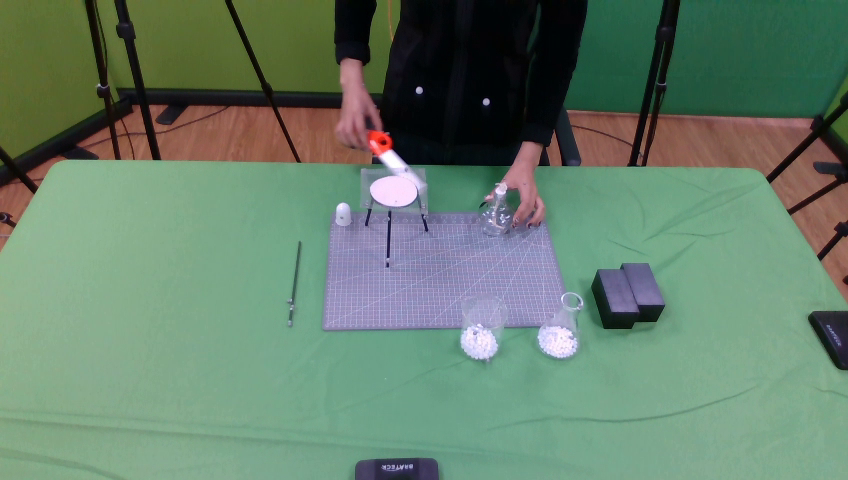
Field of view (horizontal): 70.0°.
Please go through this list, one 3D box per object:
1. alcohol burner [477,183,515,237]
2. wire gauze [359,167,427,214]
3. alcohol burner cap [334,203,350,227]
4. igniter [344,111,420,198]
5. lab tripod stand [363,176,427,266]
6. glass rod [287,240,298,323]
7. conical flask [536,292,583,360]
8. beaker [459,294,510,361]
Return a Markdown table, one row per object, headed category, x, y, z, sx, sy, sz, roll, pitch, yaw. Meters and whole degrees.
| category | x | y | z | sx | sy | sz | roll | pitch | yaw |
| --- | --- | --- | --- | --- | --- | --- | --- | --- | --- |
| alcohol burner | 0.146 | -0.065 | 1.208 | 0.078 | 0.119 | 0.077 | 2 | 44 | -2 |
| wire gauze | -0.059 | -0.093 | 1.110 | 0.125 | 0.011 | 0.120 | 2 | 45 | -5 |
| alcohol burner cap | -0.166 | -0.054 | 1.220 | 0.034 | 0.048 | 0.033 | 2 | 45 | -2 |
| igniter | -0.096 | -0.188 | 1.292 | 0.057 | 0.025 | 0.275 | -32 | 60 | -15 |
| lab tripod stand | -0.058 | -0.047 | 1.159 | 0.148 | 0.132 | 0.147 | 3 | 44 | -2 |
| glass rod | -0.242 | 0.072 | 1.120 | 0.008 | 0.008 | 0.198 | -1 | 47 | -5 |
| conical flask | 0.234 | 0.139 | 1.015 | 0.075 | 0.122 | 0.075 | 2 | 46 | -2 |
| beaker | 0.095 | 0.147 | 1.012 | 0.083 | 0.101 | 0.074 | 26 | 49 | 21 |
